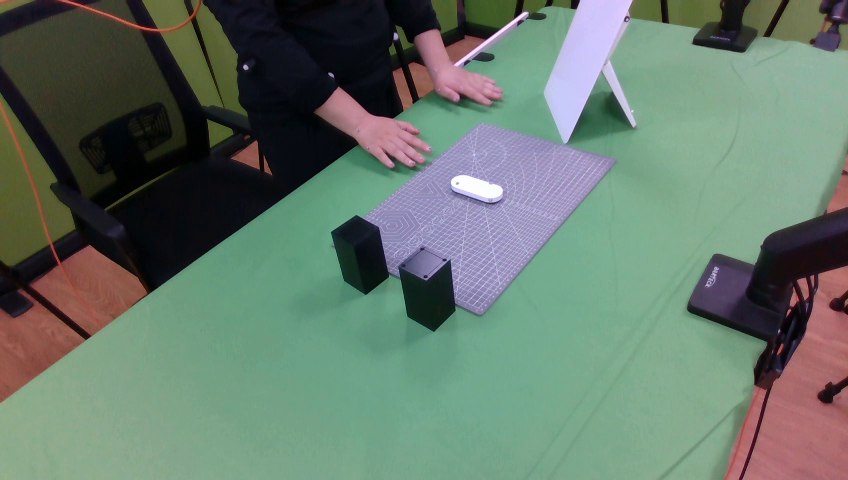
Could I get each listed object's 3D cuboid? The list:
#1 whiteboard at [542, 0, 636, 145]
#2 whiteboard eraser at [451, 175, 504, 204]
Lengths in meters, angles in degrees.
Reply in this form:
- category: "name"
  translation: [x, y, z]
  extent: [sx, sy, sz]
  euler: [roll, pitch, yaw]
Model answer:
- category: "whiteboard"
  translation: [0.365, -0.351, 1.160]
  extent: [0.144, 0.305, 0.216]
  euler: [9, 39, -10]
- category: "whiteboard eraser"
  translation: [0.093, -0.089, 1.059]
  extent: [0.100, 0.019, 0.041]
  euler: [21, 48, 30]
